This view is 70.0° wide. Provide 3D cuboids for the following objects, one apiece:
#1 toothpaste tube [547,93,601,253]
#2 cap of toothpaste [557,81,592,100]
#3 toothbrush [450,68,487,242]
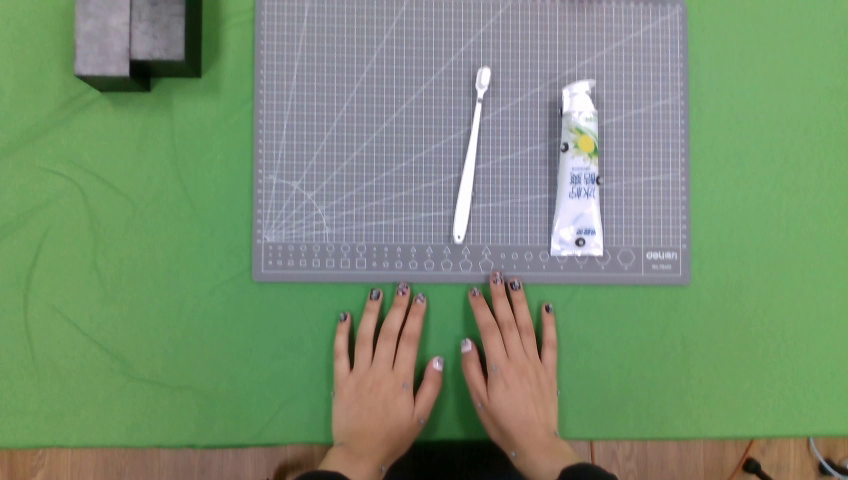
[{"bbox_3d":[0.153,-0.069,0.621,0.055,0.034,0.165,-1,92,3],"label":"toothpaste tube"},{"bbox_3d":[0.154,-0.152,0.618,0.037,0.037,0.011,-12,85,-5],"label":"cap of toothpaste"},{"bbox_3d":[0.046,-0.088,0.618,0.014,0.016,0.181,9,89,-18],"label":"toothbrush"}]
